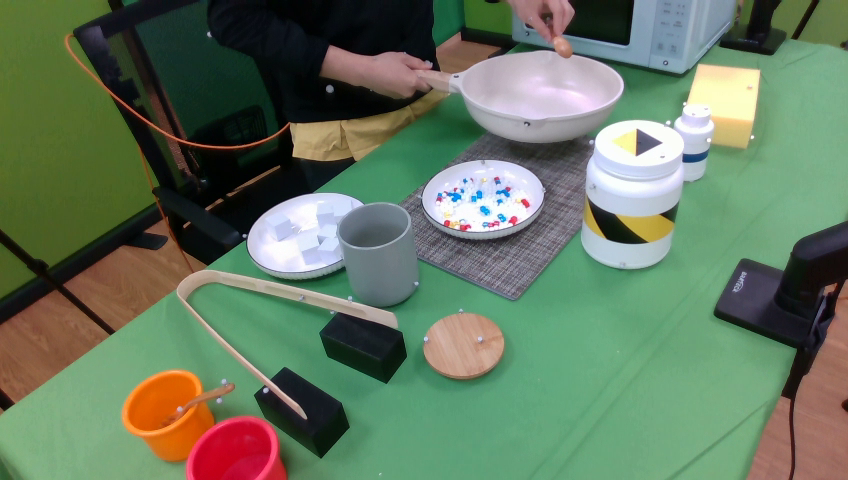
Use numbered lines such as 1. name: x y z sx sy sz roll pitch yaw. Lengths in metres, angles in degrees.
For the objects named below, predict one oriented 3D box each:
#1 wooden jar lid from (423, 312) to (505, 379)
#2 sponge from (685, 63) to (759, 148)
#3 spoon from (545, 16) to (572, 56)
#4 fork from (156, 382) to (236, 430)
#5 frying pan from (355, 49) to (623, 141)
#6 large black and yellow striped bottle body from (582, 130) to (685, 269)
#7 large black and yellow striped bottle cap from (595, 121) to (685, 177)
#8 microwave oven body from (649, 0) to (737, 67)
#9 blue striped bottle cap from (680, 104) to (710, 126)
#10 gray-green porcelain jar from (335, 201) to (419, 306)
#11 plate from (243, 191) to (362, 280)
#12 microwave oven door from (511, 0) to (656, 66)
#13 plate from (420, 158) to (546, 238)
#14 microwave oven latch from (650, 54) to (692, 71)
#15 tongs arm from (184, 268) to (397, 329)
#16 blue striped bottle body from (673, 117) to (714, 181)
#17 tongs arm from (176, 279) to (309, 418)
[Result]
1. wooden jar lid: 0.053 0.142 0.800 0.108 0.021 0.108 -5 39 4
2. sponge: 0.569 -0.263 1.164 0.117 0.061 0.207 12 45 22
3. spoon: 0.236 -0.374 1.098 0.042 0.021 0.193 20 31 -14
4. fork: -0.262 0.189 0.690 0.018 0.206 0.028 49 43 -7
5. frying pan: 0.108 -0.288 1.117 0.487 0.103 0.306 13 39 6
6. large black and yellow striped bottle body: 0.301 -0.063 0.877 0.131 0.185 0.130 -4 41 4
7. large black and yellow striped bottle cap: 0.292 -0.126 0.821 0.115 0.019 0.114 -5 40 4
8. microwave oven body: 0.475 -0.602 1.411 0.438 0.261 0.327 23 50 32
9. blue striped bottle cap: 0.443 -0.205 0.989 0.044 0.021 0.044 -1 41 2
10. gray-green porcelain jar: -0.064 0.024 0.872 0.106 0.127 0.105 -4 41 4
11. plate: -0.188 -0.005 0.992 0.207 0.039 0.206 -4 40 4
12. microwave oven door: 0.351 -0.540 1.349 0.353 0.245 0.039 24 50 31
13. plate: 0.099 -0.067 1.017 0.209 0.038 0.208 -4 40 4
14. microwave oven latch: 0.531 -0.386 1.301 0.078 0.029 0.030 24 50 32
15. tongs arm: -0.202 0.084 0.848 0.382 0.027 0.051 11 45 35
16. blue striped bottle body: 0.449 -0.165 1.022 0.063 0.121 0.063 -5 41 4
17. tongs arm: -0.254 0.132 0.801 0.028 0.028 0.384 -41 40 -23
